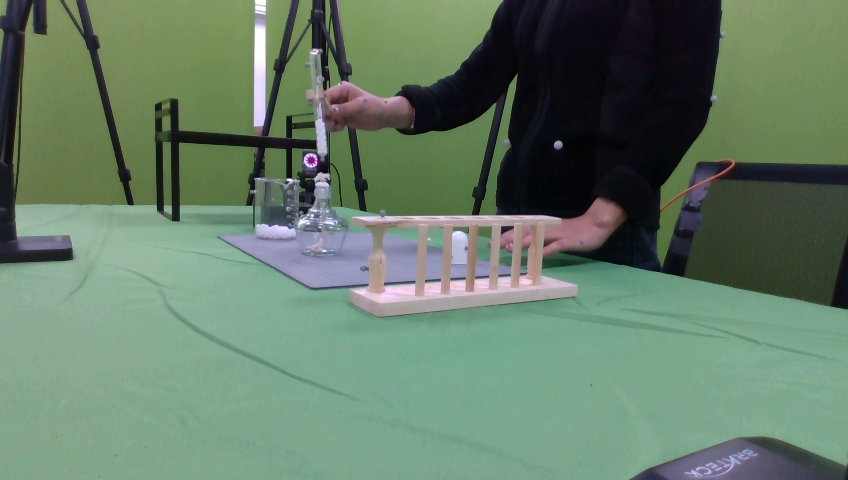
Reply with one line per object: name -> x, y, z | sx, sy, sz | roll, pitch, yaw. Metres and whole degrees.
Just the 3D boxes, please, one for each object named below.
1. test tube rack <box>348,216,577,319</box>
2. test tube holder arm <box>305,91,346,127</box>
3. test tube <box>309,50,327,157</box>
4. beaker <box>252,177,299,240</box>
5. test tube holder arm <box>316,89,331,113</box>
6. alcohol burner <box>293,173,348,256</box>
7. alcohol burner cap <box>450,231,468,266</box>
test tube rack -> 0.048, 0.021, 0.619 | 0.244, 0.085, 0.066 | -2, 9, -31
test tube holder arm -> -0.147, -0.198, 0.921 | 0.013, 0.015, 0.178 | -6, -2, 6
test tube -> -0.150, -0.192, 0.853 | 0.017, 0.150, 0.017 | -4, -1, 0
beaker -> -0.245, -0.052, 1.005 | 0.074, 0.100, 0.083 | -3, 10, -32
test tube holder arm -> -0.145, -0.200, 0.875 | 0.010, 0.015, 0.088 | -6, -2, -2
alcohol burner -> -0.146, -0.036, 0.859 | 0.078, 0.119, 0.078 | 4, 8, 0
alcohol burner cap -> 0.047, 0.012, 0.839 | 0.034, 0.048, 0.034 | 2, 5, 0
